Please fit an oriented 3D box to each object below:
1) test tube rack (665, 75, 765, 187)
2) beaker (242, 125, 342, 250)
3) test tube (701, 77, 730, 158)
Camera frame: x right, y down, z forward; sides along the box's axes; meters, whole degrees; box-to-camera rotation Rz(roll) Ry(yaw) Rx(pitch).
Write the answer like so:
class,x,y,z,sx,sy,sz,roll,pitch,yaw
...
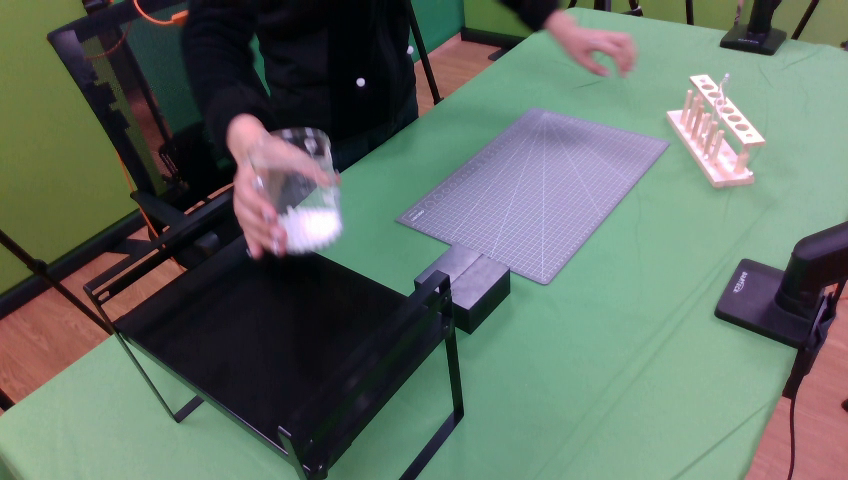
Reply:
class,x,y,z,sx,sy,sz,roll,pitch,yaw
test tube rack,0.512,-0.201,1.082,0.067,0.085,0.241,-6,41,2
beaker,-0.117,-0.047,0.570,0.083,0.100,0.074,12,38,25
test tube,0.491,-0.204,1.020,0.017,0.151,0.017,-4,41,4
